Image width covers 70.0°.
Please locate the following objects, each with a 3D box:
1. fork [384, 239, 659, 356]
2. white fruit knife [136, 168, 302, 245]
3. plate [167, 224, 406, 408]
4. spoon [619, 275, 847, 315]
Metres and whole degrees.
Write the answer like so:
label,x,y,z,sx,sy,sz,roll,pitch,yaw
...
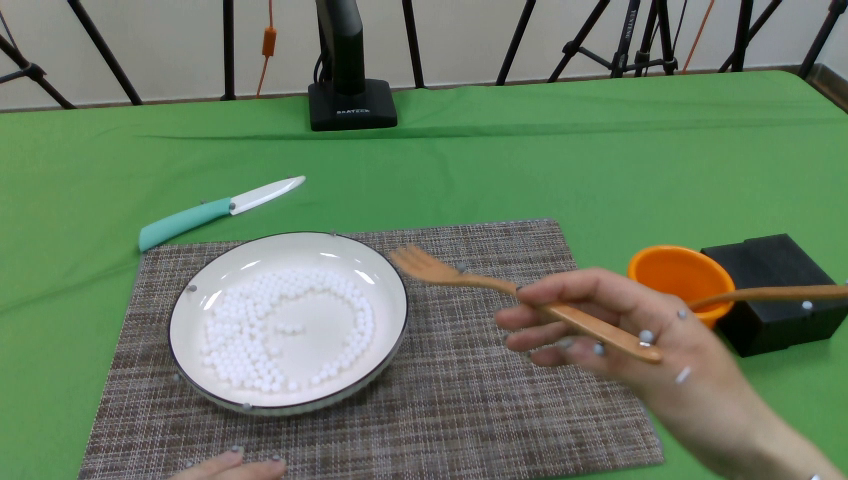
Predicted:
label,x,y,z,sx,sy,sz,roll,pitch,yaw
fork,0.047,0.030,0.372,0.028,0.019,0.205,-18,24,-39
white fruit knife,-0.228,-0.046,0.690,0.207,0.016,0.027,-27,74,-33
plate,-0.120,0.065,0.551,0.209,0.038,0.207,2,42,-1
spoon,0.251,0.045,0.517,0.041,0.193,0.021,-31,96,-35
